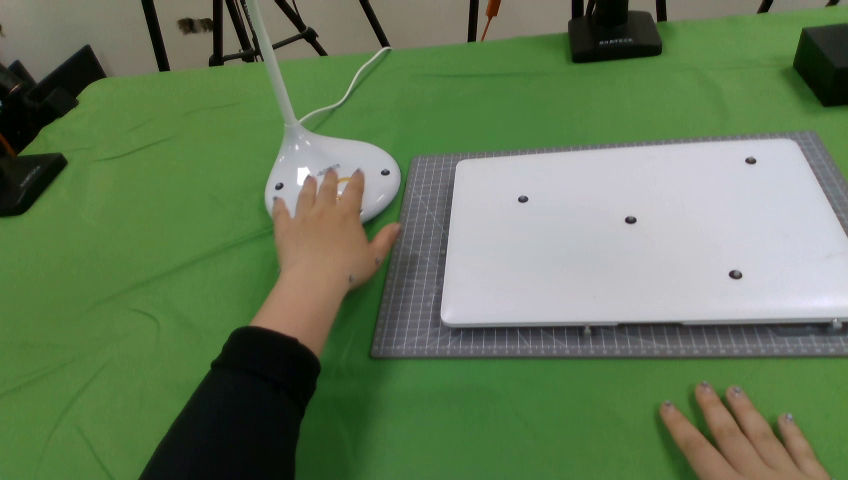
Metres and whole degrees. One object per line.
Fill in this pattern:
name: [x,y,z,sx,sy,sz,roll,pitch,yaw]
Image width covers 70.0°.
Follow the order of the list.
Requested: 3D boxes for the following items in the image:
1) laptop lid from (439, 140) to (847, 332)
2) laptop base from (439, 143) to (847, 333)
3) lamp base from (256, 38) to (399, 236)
laptop lid: [0.195,-0.012,0.574,0.356,0.013,0.239,-2,46,11]
laptop base: [0.197,-0.005,0.584,0.354,0.023,0.233,-3,47,10]
lamp base: [-0.129,-0.121,0.661,0.160,0.182,0.177,-38,46,-26]
